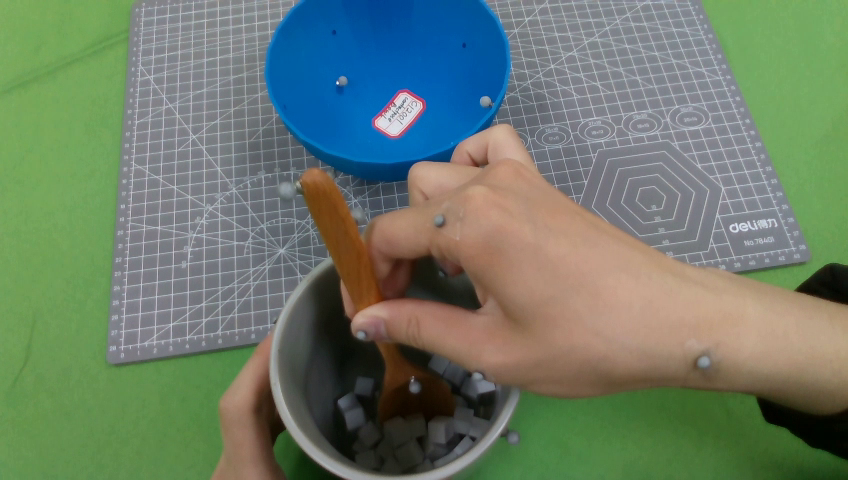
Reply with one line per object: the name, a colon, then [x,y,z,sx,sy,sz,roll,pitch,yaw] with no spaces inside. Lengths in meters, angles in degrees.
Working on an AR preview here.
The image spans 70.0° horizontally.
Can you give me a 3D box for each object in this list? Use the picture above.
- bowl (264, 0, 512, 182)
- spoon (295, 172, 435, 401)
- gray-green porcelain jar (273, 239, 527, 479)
bowl: [-0.021,-0.093,0.402,0.151,0.077,0.150,0,65,1]
spoon: [-0.023,0.035,0.276,0.041,0.195,0.021,-7,59,3]
gray-green porcelain jar: [-0.008,0.072,0.304,0.106,0.127,0.105,-1,65,2]
